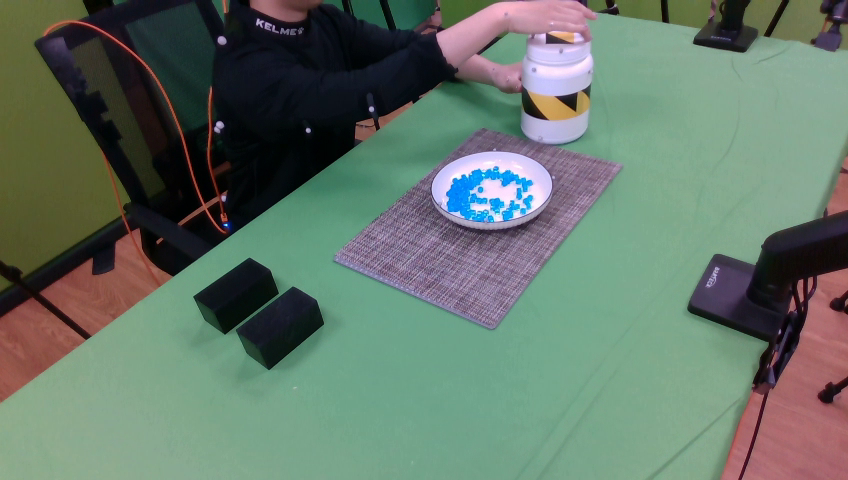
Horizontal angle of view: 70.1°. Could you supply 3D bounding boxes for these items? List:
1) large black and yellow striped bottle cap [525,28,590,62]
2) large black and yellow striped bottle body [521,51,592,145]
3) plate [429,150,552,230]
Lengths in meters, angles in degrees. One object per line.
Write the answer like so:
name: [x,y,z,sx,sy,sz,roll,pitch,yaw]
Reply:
large black and yellow striped bottle cap: [0.240,-0.354,1.092,0.115,0.019,0.114,-2,41,2]
large black and yellow striped bottle body: [0.249,-0.290,1.147,0.131,0.185,0.130,-4,40,4]
plate: [0.113,-0.082,1.032,0.207,0.039,0.206,-4,41,4]
